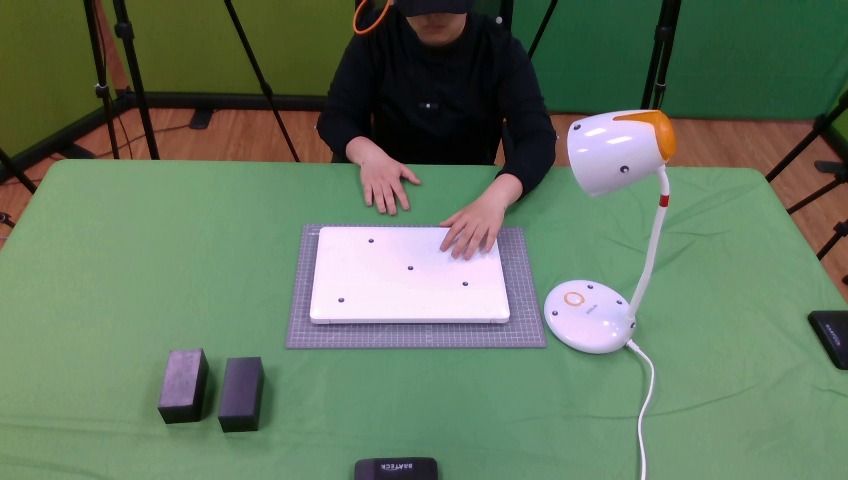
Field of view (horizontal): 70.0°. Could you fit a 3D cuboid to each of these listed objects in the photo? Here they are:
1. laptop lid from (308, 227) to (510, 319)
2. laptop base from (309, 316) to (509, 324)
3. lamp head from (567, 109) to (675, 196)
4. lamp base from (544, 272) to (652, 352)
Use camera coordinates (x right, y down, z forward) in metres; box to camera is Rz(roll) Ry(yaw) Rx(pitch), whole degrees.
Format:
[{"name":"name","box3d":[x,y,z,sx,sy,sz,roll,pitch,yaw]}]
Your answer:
[{"name":"laptop lid","box3d":[-0.028,0.055,1.129,0.357,0.013,0.240,2,44,-3]},{"name":"laptop base","box3d":[-0.028,0.065,1.136,0.355,0.023,0.234,0,43,-4]},{"name":"lamp head","box3d":[0.272,-0.123,0.818,0.122,0.113,0.112,-9,35,37]},{"name":"lamp base","box3d":[0.310,0.086,1.029,0.178,0.181,0.160,32,52,21]}]
